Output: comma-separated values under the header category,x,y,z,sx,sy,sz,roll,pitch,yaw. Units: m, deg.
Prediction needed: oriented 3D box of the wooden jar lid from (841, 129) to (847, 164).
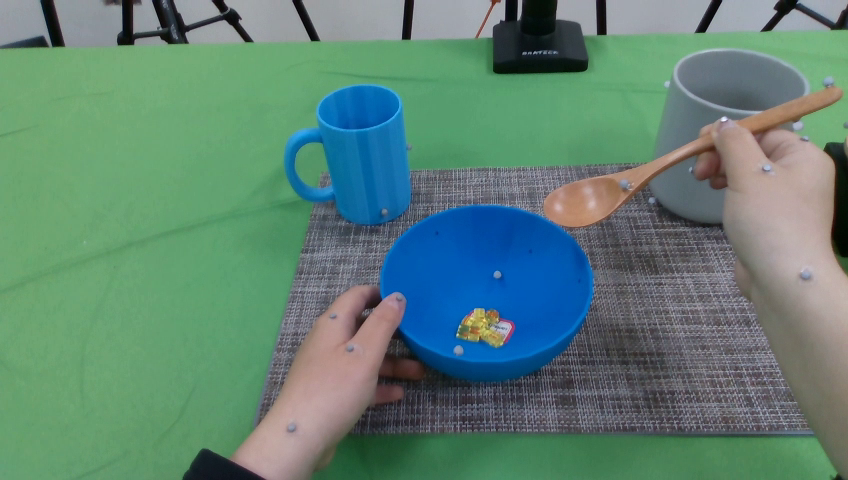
category,x,y,z,sx,sy,sz,roll,pitch,yaw
wooden jar lid,0.416,-0.068,0.517,0.108,0.021,0.107,-3,44,3

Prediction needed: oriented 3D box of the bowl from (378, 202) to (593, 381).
category,x,y,z,sx,sy,sz,roll,pitch,yaw
bowl,0.044,0.050,0.451,0.151,0.077,0.150,-2,45,2

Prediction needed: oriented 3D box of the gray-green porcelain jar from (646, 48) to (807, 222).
category,x,y,z,sx,sy,sz,roll,pitch,yaw
gray-green porcelain jar,0.259,-0.088,0.539,0.106,0.128,0.105,-2,45,3

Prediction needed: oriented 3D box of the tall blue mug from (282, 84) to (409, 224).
category,x,y,z,sx,sy,sz,roll,pitch,yaw
tall blue mug,-0.067,-0.072,0.562,0.107,0.109,0.077,-34,53,-27

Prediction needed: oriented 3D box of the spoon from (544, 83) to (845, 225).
category,x,y,z,sx,sy,sz,roll,pitch,yaw
spoon,0.171,-0.056,0.399,0.193,0.022,0.041,-25,46,22
